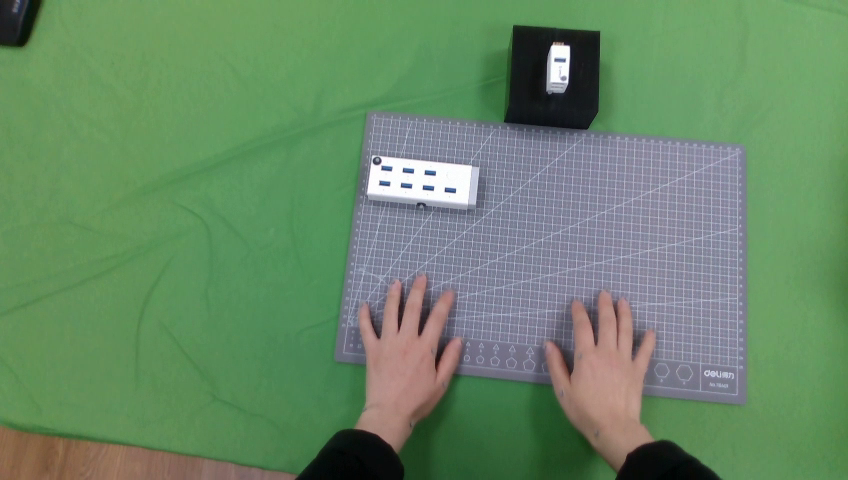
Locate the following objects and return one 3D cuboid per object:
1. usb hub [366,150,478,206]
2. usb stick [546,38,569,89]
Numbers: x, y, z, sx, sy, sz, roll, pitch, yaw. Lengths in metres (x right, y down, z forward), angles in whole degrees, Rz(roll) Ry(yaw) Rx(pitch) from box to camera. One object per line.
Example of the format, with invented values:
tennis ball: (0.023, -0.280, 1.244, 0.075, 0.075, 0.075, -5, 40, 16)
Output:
usb hub: (-0.002, -0.071, 0.695, 0.125, 0.025, 0.049, 7, 78, 1)
usb stick: (0.148, -0.201, 0.673, 0.021, 0.027, 0.059, 4, 76, 4)
